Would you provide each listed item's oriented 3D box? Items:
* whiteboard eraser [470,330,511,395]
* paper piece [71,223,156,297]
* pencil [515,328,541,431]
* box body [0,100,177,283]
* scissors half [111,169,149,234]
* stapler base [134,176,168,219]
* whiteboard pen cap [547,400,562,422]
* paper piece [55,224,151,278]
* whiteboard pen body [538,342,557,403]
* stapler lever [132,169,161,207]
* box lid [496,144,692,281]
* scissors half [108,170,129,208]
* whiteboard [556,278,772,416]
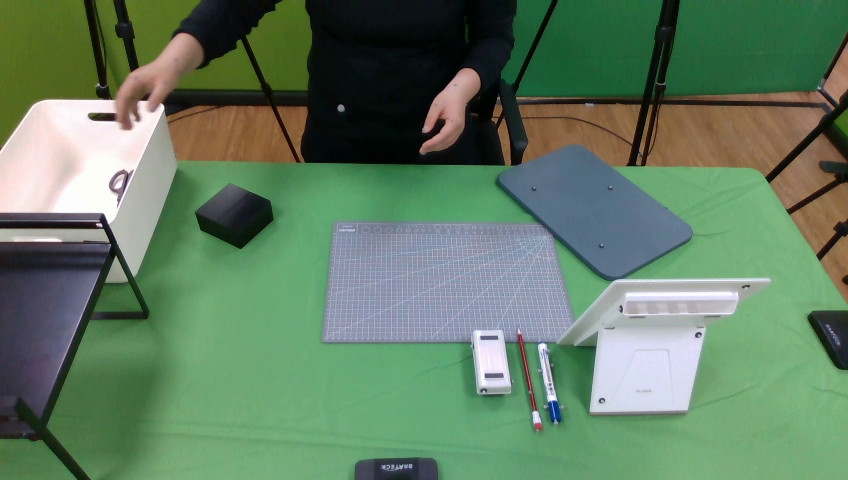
[{"bbox_3d":[0.110,0.202,0.998,0.055,0.042,0.112,1,46,-5],"label":"whiteboard eraser"},{"bbox_3d":[-0.598,0.034,1.141,0.136,0.009,0.137,14,52,-14],"label":"paper piece"},{"bbox_3d":[0.169,0.224,1.002,0.012,0.012,0.192,-2,46,-6],"label":"pencil"},{"bbox_3d":[-0.639,-0.095,1.140,0.254,0.161,0.361,0,46,-4],"label":"box body"},{"bbox_3d":[-0.596,-0.079,1.223,0.040,0.013,0.174,5,51,2],"label":"scissors half"},{"bbox_3d":[-0.558,-0.093,1.234,0.041,0.024,0.129,1,42,-8],"label":"stapler base"},{"bbox_3d":[0.205,0.269,0.956,0.018,0.018,0.033,0,47,-5],"label":"whiteboard pen cap"},{"bbox_3d":[-0.595,0.018,1.129,0.135,0.004,0.135,1,46,-2],"label":"paper piece"},{"bbox_3d":[0.205,0.228,0.997,0.017,0.017,0.140,1,46,-3],"label":"whiteboard pen body"},{"bbox_3d":[-0.557,-0.113,1.218,0.027,0.040,0.117,1,42,-8],"label":"stapler lever"},{"bbox_3d":[0.360,-0.073,1.305,0.263,0.015,0.369,-24,52,-25],"label":"box lid"},{"bbox_3d":[-0.617,-0.077,1.222,0.040,0.013,0.174,-15,52,-7],"label":"scissors half"},{"bbox_3d":[0.347,0.174,0.903,0.217,0.306,0.143,1,65,-4],"label":"whiteboard"}]
